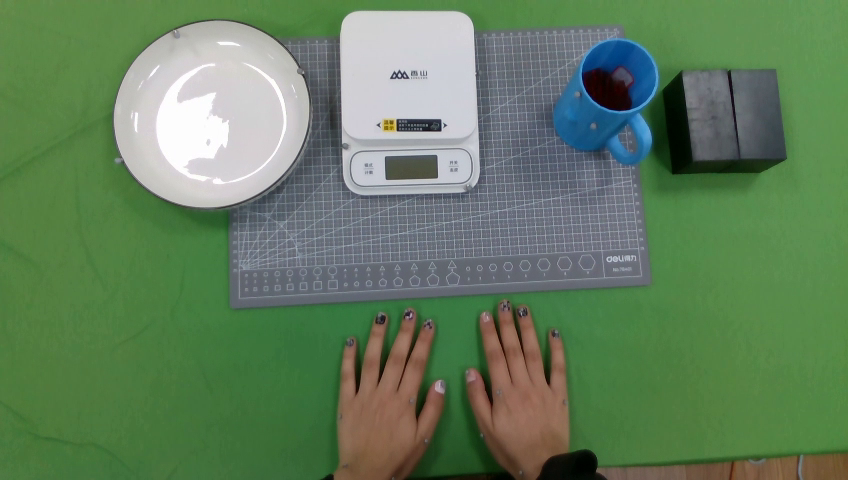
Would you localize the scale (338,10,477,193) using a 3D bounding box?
[{"bbox_3d":[-0.019,-0.152,0.661,0.149,0.031,0.200,-1,82,-2],"label":"scale"}]

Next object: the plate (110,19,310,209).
[{"bbox_3d":[-0.223,-0.132,0.648,0.209,0.038,0.208,0,81,0],"label":"plate"}]

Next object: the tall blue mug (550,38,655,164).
[{"bbox_3d":[0.193,-0.139,0.626,0.107,0.108,0.077,34,81,4],"label":"tall blue mug"}]
